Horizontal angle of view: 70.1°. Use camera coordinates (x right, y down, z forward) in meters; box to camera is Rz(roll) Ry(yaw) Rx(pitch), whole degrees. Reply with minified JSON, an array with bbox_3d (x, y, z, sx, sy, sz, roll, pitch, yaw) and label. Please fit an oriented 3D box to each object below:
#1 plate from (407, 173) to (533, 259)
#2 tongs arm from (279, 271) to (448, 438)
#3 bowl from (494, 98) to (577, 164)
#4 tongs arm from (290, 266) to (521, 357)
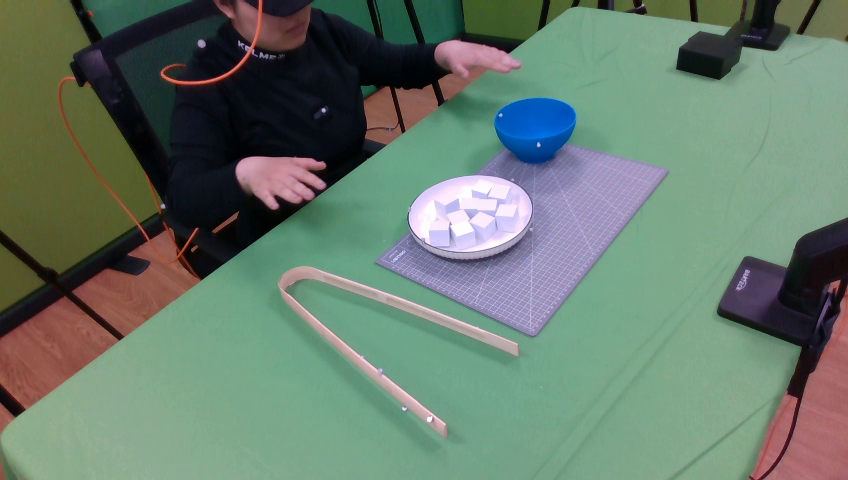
[{"bbox_3d":[0.076,-0.037,0.997,0.207,0.039,0.206,-5,40,5],"label":"plate"},{"bbox_3d":[-0.092,0.140,0.825,0.381,0.026,0.051,28,51,37],"label":"tongs arm"},{"bbox_3d":[0.207,-0.196,1.128,0.151,0.077,0.150,-5,40,5],"label":"bowl"},{"bbox_3d":[-0.039,0.098,0.871,0.385,0.028,0.028,16,49,28],"label":"tongs arm"}]
